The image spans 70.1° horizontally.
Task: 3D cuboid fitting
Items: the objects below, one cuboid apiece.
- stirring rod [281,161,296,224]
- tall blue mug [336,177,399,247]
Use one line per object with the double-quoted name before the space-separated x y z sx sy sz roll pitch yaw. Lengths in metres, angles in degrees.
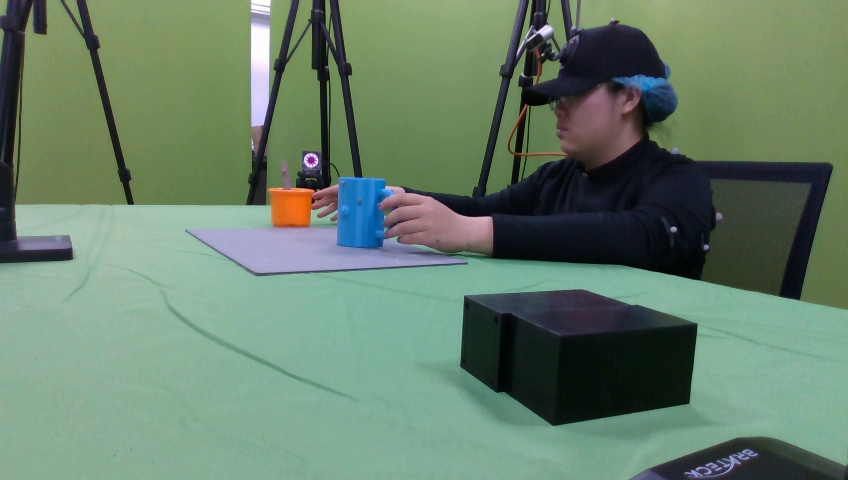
"stirring rod" -0.278 -0.099 1.238 0.014 0.006 0.175 3 49 -25
"tall blue mug" -0.086 -0.045 0.971 0.107 0.108 0.078 4 7 9
